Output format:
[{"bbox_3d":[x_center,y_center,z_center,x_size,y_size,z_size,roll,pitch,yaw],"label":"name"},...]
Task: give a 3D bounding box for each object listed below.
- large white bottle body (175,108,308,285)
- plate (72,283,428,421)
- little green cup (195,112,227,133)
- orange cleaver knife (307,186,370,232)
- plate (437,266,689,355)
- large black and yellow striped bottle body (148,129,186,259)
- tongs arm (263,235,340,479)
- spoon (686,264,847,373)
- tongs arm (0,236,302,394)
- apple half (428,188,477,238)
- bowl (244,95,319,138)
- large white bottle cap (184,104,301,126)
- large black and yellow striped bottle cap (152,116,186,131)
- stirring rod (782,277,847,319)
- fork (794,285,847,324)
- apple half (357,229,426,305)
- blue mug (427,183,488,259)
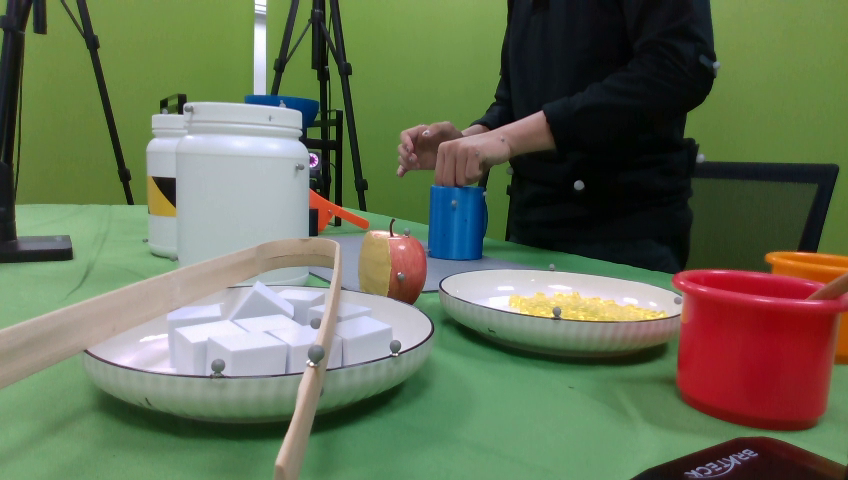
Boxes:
[{"bbox_3d":[-0.188,-0.042,0.630,0.131,0.184,0.130,2,8,0],"label":"large white bottle body"},{"bbox_3d":[-0.102,0.066,0.381,0.208,0.039,0.207,2,7,0],"label":"plate"},{"bbox_3d":[-0.412,-0.227,1.171,0.061,0.038,0.061,3,8,0],"label":"little green cup"},{"bbox_3d":[-0.197,-0.056,1.141,0.212,0.077,0.012,29,0,-34],"label":"orange cleaver knife"},{"bbox_3d":[0.114,0.057,0.517,0.209,0.038,0.209,3,7,0],"label":"plate"},{"bbox_3d":[-0.310,-0.073,0.838,0.131,0.184,0.130,2,8,0],"label":"large black and yellow striped bottle body"},{"bbox_3d":[-0.074,0.039,0.349,0.051,0.026,0.384,-2,9,-3],"label":"tongs arm"},{"bbox_3d":[0.214,0.032,0.328,0.042,0.021,0.193,-3,-35,-26],"label":"spoon"},{"bbox_3d":[-0.158,0.038,0.351,0.028,0.028,0.388,-3,8,12],"label":"tongs arm"},{"bbox_3d":[0.043,-0.044,0.907,0.081,0.081,0.033,2,18,-2],"label":"apple half"},{"bbox_3d":[-0.293,-0.251,1.249,0.151,0.077,0.151,2,7,0],"label":"bowl"},{"bbox_3d":[-0.184,-0.126,0.618,0.115,0.018,0.115,2,8,0],"label":"large white bottle cap"},{"bbox_3d":[-0.309,-0.155,0.826,0.115,0.019,0.115,3,6,0],"label":"large black and yellow striped bottle cap"},{"bbox_3d":[0.344,0.019,0.461,0.014,0.006,0.176,-13,-27,-30],"label":"stirring rod"},{"bbox_3d":[0.332,0.018,0.443,0.028,0.018,0.207,-1,-36,-15],"label":"fork"},{"bbox_3d":[-0.026,0.028,0.570,0.053,0.074,0.080,3,2,-28],"label":"apple half"},{"bbox_3d":[0.058,-0.031,0.907,0.082,0.106,0.117,9,10,42],"label":"blue mug"}]
